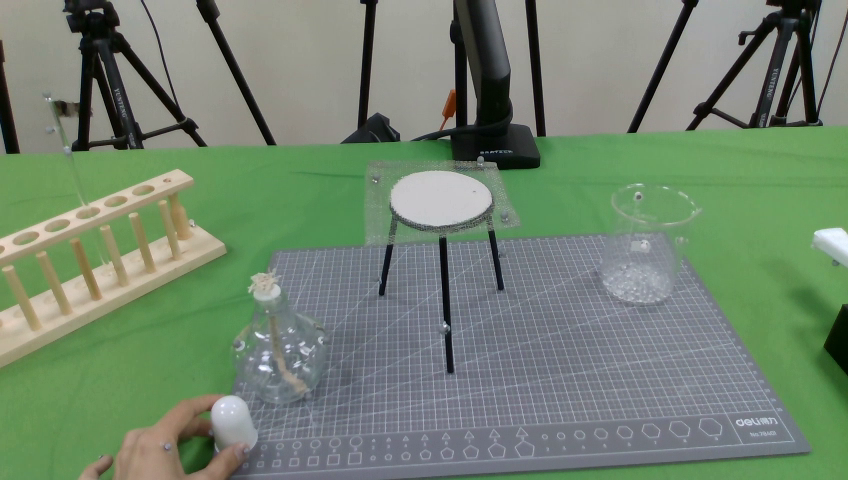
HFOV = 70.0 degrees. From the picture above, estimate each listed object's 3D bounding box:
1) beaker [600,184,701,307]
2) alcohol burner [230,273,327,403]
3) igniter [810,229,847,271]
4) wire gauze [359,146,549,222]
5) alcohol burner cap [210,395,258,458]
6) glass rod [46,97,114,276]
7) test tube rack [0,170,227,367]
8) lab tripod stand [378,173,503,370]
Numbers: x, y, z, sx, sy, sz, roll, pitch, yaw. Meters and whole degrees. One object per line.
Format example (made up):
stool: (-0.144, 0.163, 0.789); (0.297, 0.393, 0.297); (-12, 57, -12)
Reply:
beaker: (0.213, 0.007, 0.583); (0.084, 0.101, 0.073); (2, 35, 5)
alcohol burner: (-0.119, 0.074, 0.489); (0.078, 0.120, 0.077); (0, 35, 0)
igniter: (0.415, 0.066, 0.476); (0.057, 0.025, 0.273); (-7, 32, -8)
wire gauze: (0.020, -0.046, 0.493); (0.125, 0.011, 0.120); (-9, 31, -23)
alcohol burner cap: (-0.147, 0.138, 0.460); (0.034, 0.048, 0.033); (1, 35, -1)
glass rod: (-0.325, -0.041, 0.577); (0.008, 0.201, 0.008); (2, 37, -1)
test tube rack: (-0.329, 0.020, 0.605); (0.066, 0.086, 0.242); (28, 44, 35)
lab tripod stand: (0.018, 0.020, 0.544); (0.148, 0.132, 0.147); (0, 36, 0)
